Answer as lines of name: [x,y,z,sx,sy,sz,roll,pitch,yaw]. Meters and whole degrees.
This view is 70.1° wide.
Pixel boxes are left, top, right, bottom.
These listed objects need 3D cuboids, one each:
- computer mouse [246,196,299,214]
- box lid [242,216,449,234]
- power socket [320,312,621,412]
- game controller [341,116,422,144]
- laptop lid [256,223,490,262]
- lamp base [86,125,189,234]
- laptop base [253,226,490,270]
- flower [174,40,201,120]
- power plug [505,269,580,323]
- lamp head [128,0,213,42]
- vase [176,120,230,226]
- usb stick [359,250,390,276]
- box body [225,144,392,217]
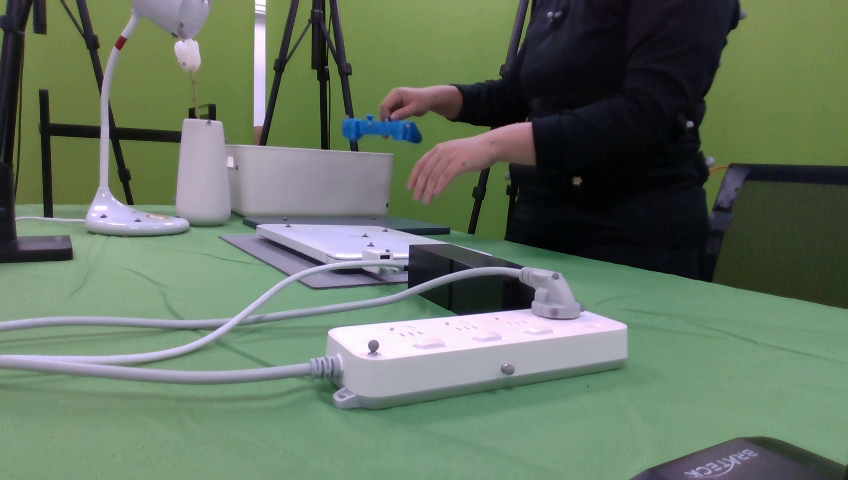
computer mouse: [-0.354,-0.083,1.418,0.117,0.041,0.063,0,10,7]
box lid: [-0.162,-0.030,1.233,0.373,0.015,0.262,-1,8,-32]
power socket: [0.038,0.075,0.409,0.228,0.032,0.072,-2,8,-29]
game controller: [-0.085,-0.213,1.171,0.155,0.051,0.097,3,9,10]
laptop lid: [-0.092,0.000,0.912,0.243,0.013,0.355,1,7,-30]
lamp base: [-0.497,-0.105,1.027,0.179,0.180,0.160,1,7,3]
laptop base: [-0.096,0.011,0.912,0.237,0.023,0.352,3,6,-32]
flower: [-0.430,-0.211,1.165,0.044,0.361,0.038,-10,-5,-24]
power plug: [0.092,0.051,0.470,0.035,0.052,0.072,0,6,-16]
lamp head: [-0.423,-0.394,0.980,0.123,0.112,0.112,20,7,-3]
vase: [-0.425,-0.128,1.159,0.098,0.200,0.098,2,9,0]
usb stick: [-0.061,0.026,0.709,0.021,0.027,0.059,-1,3,-29]
box body: [-0.289,-0.143,1.475,0.366,0.160,0.253,-1,9,-29]
